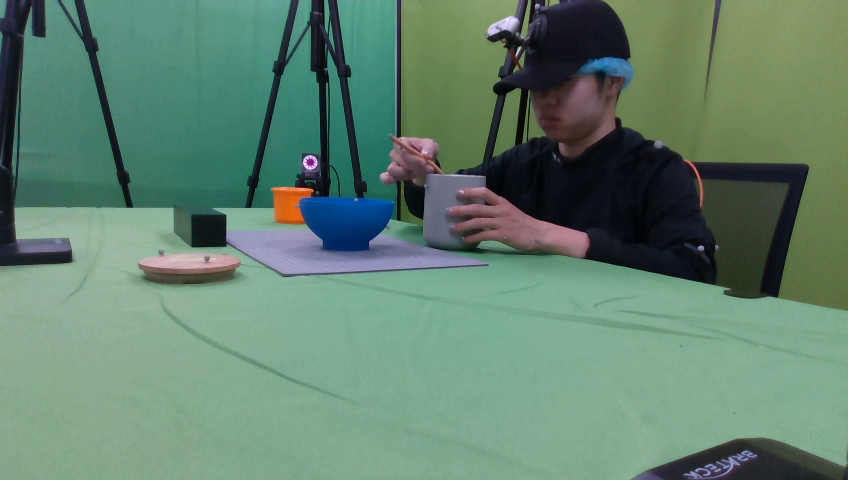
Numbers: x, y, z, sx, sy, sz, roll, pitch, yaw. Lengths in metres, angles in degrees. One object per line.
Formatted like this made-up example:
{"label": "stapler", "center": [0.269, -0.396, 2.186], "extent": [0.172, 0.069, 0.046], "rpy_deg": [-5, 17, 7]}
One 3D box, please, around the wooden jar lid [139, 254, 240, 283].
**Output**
{"label": "wooden jar lid", "center": [-0.269, 0.033, 0.698], "extent": [0.108, 0.020, 0.108], "rpy_deg": [2, 5, 0]}

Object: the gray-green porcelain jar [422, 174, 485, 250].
{"label": "gray-green porcelain jar", "center": [0.050, -0.049, 1.040], "extent": [0.106, 0.126, 0.106], "rpy_deg": [3, 8, 0]}

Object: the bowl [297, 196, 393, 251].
{"label": "bowl", "center": [-0.125, -0.026, 0.957], "extent": [0.151, 0.077, 0.151], "rpy_deg": [2, 7, 0]}

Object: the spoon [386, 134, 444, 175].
{"label": "spoon", "center": [0.016, -0.119, 1.023], "extent": [0.194, 0.021, 0.041], "rpy_deg": [40, 8, -9]}
